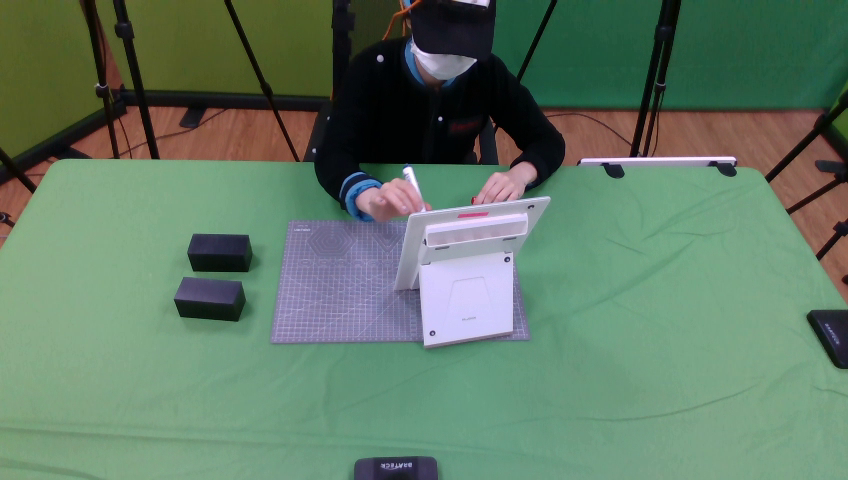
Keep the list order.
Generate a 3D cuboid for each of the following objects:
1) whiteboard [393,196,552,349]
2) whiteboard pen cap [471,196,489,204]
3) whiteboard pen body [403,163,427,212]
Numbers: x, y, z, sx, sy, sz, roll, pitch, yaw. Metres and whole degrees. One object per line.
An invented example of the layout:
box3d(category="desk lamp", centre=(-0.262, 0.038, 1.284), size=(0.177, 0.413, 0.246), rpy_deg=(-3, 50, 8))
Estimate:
box3d(category="whiteboard", centre=(0.077, 0.071, 0.977), size=(0.217, 0.306, 0.143), rpy_deg=(-7, 66, -11))
box3d(category="whiteboard pen cap", centre=(0.110, -0.077, 1.199), size=(0.032, 0.017, 0.017), rpy_deg=(10, 46, -7))
box3d(category="whiteboard pen body", centre=(-0.008, -0.062, 0.975), size=(0.017, 0.017, 0.140), rpy_deg=(-12, 69, -15))
